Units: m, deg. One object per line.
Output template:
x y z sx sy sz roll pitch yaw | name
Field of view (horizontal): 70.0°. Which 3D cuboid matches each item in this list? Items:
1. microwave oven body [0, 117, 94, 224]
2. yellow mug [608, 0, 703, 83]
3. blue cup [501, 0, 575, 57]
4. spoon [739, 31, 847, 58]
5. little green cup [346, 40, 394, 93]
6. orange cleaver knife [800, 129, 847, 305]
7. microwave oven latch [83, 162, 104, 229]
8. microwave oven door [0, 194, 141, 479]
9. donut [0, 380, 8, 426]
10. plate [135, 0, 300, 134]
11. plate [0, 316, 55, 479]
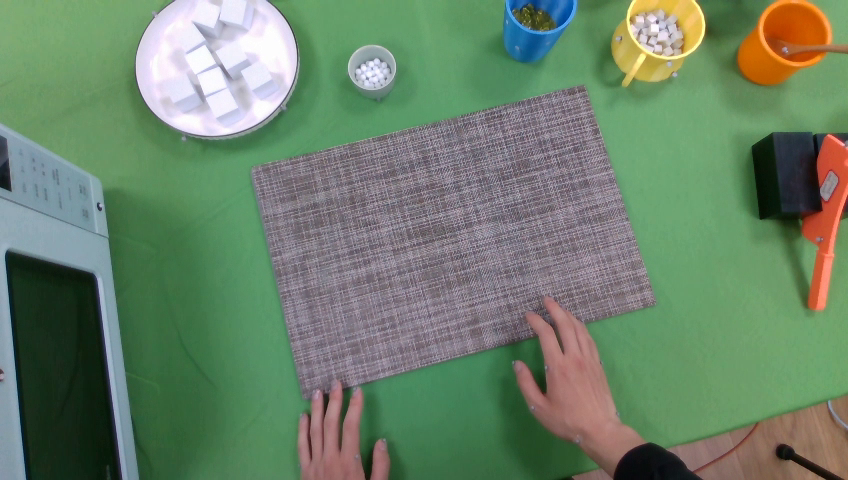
-0.518 0.132 0.604 0.326 0.261 0.440 -12 81 -3 | microwave oven body
0.289 -0.258 0.780 0.100 0.064 0.130 33 83 5 | yellow mug
0.135 -0.280 0.764 0.093 0.100 0.092 0 82 -1 | blue cup
0.482 -0.237 0.737 0.022 0.192 0.041 40 79 -39 | spoon
-0.068 -0.222 0.784 0.061 0.039 0.061 0 80 0 | little green cup
0.481 -0.025 0.735 0.012 0.077 0.212 0 110 2 | orange cleaver knife
-0.410 -0.051 0.733 0.030 0.029 0.079 -10 81 -3 | microwave oven latch
-0.366 0.142 0.599 0.039 0.244 0.354 -12 81 -2 | microwave oven door
-0.494 0.177 0.640 0.099 0.048 0.099 0 89 -4 | donut
-0.262 -0.233 0.784 0.208 0.039 0.207 0 80 0 | plate
-0.499 0.178 0.650 0.209 0.038 0.208 0 80 -1 | plate
